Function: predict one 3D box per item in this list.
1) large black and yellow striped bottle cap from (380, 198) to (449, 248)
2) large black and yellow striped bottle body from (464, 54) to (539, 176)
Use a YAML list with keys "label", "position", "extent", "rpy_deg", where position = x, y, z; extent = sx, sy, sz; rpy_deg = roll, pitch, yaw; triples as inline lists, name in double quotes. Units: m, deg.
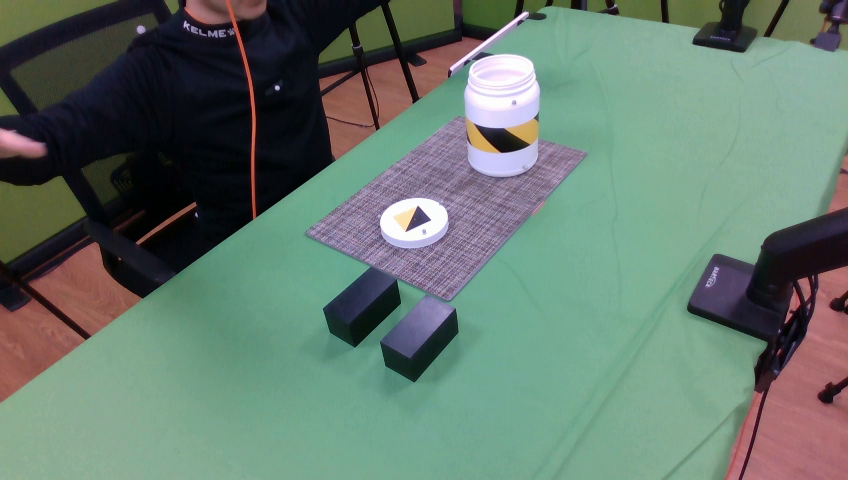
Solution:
- label: "large black and yellow striped bottle cap"
  position: [-0.016, -0.030, 1.004]
  extent: [0.115, 0.019, 0.114]
  rpy_deg: [-5, 40, 4]
- label: "large black and yellow striped bottle body"
  position: [0.139, -0.221, 1.075]
  extent: [0.131, 0.185, 0.130]
  rpy_deg: [-4, 41, 4]
